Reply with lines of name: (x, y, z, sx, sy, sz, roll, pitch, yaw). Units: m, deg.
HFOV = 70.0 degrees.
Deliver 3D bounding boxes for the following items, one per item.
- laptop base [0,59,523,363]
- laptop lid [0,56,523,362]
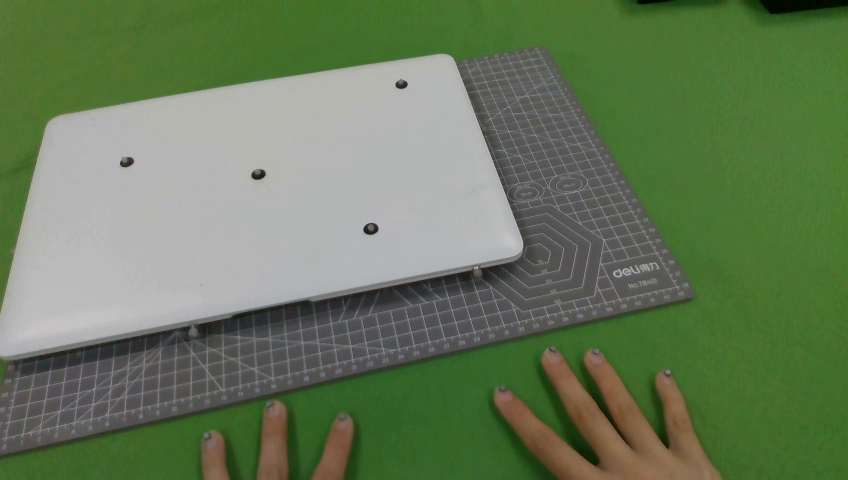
laptop base: (-0.124, -0.039, 0.473, 0.355, 0.023, 0.233, -11, 55, -6)
laptop lid: (-0.124, -0.045, 0.463, 0.357, 0.013, 0.239, -10, 54, -4)
